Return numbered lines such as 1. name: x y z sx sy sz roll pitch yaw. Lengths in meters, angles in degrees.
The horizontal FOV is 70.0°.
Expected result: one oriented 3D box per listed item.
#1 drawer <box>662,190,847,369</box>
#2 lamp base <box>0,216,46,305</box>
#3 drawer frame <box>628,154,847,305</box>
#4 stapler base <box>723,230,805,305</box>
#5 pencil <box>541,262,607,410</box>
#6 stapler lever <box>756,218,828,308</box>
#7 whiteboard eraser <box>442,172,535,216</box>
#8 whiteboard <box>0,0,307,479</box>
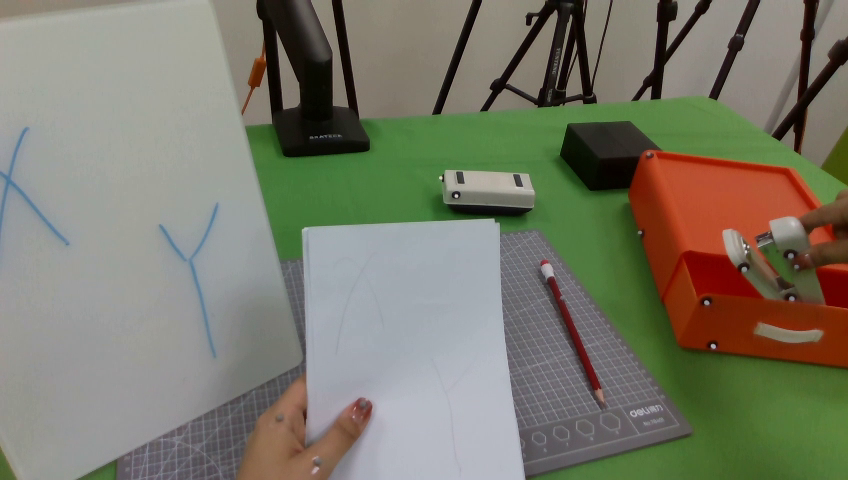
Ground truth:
1. drawer: 0.353 0.032 0.649 0.194 0.074 0.210 6 36 1
2. lamp base: -0.454 -0.038 0.529 0.178 0.182 0.160 17 38 17
3. drawer frame: 0.359 -0.007 0.698 0.202 0.083 0.211 6 36 1
4. stapler base: 0.320 0.034 0.557 0.132 0.024 0.041 38 46 -26
5. pencil: 0.145 0.087 0.597 0.012 0.012 0.192 -1 39 -9
6. stapler lever: 0.339 0.024 0.541 0.119 0.040 0.026 38 45 -27
7. whiteboard eraser: 0.080 -0.057 0.756 0.113 0.042 0.055 3 38 -5
8. whiteboard: -0.247 -0.007 0.465 0.217 0.307 0.142 -24 27 -33
